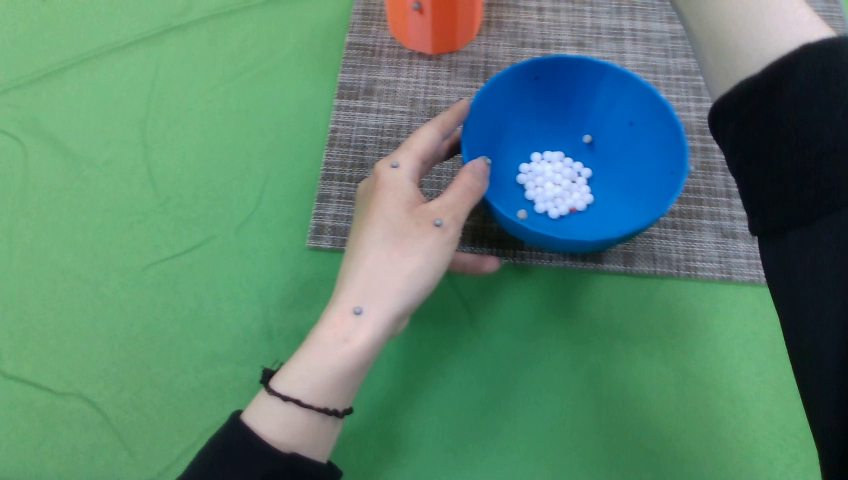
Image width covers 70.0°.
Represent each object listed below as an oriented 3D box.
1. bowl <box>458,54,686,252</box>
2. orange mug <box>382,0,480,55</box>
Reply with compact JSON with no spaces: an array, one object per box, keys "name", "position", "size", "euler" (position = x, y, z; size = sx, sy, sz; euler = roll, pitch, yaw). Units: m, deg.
[{"name":"bowl","position":[0.098,-0.049,0.434],"size":[0.151,0.077,0.150],"euler":[0,64,0]},{"name":"orange mug","position":[0.011,-0.239,0.516],"size":[0.083,0.101,0.125],"euler":[15,69,8]}]
